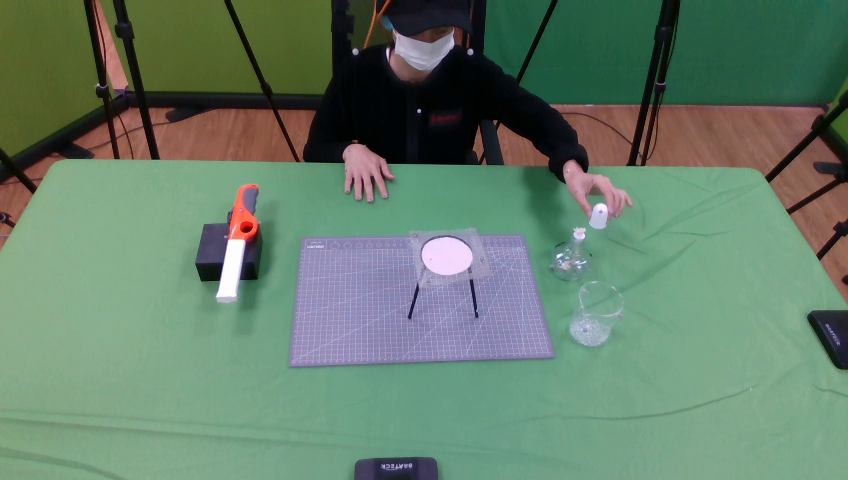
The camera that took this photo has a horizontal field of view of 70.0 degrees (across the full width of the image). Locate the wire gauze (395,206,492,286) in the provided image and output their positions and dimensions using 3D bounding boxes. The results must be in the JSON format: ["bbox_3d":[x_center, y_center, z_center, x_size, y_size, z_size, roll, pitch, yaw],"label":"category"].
[{"bbox_3d":[0.031,0.010,0.993,0.125,0.011,0.120,-25,57,-17],"label":"wire gauze"}]

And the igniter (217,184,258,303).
[{"bbox_3d":[-0.339,-0.003,1.106,0.057,0.025,0.274,1,49,-6],"label":"igniter"}]

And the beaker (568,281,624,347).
[{"bbox_3d":[0.290,0.132,1.041,0.084,0.101,0.073,-34,57,-31],"label":"beaker"}]

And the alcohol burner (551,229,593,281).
[{"bbox_3d":[0.281,0.021,1.137,0.078,0.120,0.077,1,48,-1],"label":"alcohol burner"}]

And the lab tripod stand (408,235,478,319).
[{"bbox_3d":[0.032,0.065,1.057,0.148,0.132,0.147,1,45,-1],"label":"lab tripod stand"}]

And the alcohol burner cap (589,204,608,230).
[{"bbox_3d":[0.330,-0.046,1.137,0.034,0.048,0.033,-1,43,1],"label":"alcohol burner cap"}]
